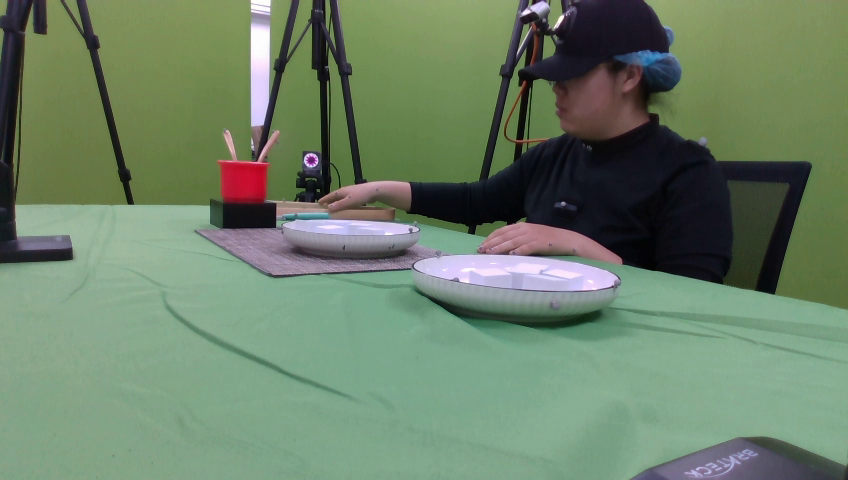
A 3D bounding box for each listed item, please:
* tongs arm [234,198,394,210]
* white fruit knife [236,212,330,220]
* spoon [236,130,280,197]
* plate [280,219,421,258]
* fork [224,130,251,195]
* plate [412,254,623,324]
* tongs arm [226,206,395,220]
[{"bbox_3d":[-0.263,-0.076,1.459,0.386,0.026,0.050,3,9,-8],"label":"tongs arm"},{"bbox_3d":[-0.305,-0.050,1.330,0.208,0.016,0.027,-2,-21,-24],"label":"white fruit knife"},{"bbox_3d":[-0.321,-0.154,1.192,0.041,0.193,0.022,0,-37,19],"label":"spoon"},{"bbox_3d":[-0.108,-0.002,0.902,0.208,0.039,0.207,3,7,0],"label":"plate"},{"bbox_3d":[-0.372,-0.155,1.193,0.028,0.018,0.206,-17,54,-13],"label":"fork"},{"bbox_3d":[0.091,0.047,0.609,0.209,0.038,0.209,2,7,0],"label":"plate"},{"bbox_3d":[-0.248,-0.060,1.382,0.389,0.028,0.028,0,6,-20],"label":"tongs arm"}]
